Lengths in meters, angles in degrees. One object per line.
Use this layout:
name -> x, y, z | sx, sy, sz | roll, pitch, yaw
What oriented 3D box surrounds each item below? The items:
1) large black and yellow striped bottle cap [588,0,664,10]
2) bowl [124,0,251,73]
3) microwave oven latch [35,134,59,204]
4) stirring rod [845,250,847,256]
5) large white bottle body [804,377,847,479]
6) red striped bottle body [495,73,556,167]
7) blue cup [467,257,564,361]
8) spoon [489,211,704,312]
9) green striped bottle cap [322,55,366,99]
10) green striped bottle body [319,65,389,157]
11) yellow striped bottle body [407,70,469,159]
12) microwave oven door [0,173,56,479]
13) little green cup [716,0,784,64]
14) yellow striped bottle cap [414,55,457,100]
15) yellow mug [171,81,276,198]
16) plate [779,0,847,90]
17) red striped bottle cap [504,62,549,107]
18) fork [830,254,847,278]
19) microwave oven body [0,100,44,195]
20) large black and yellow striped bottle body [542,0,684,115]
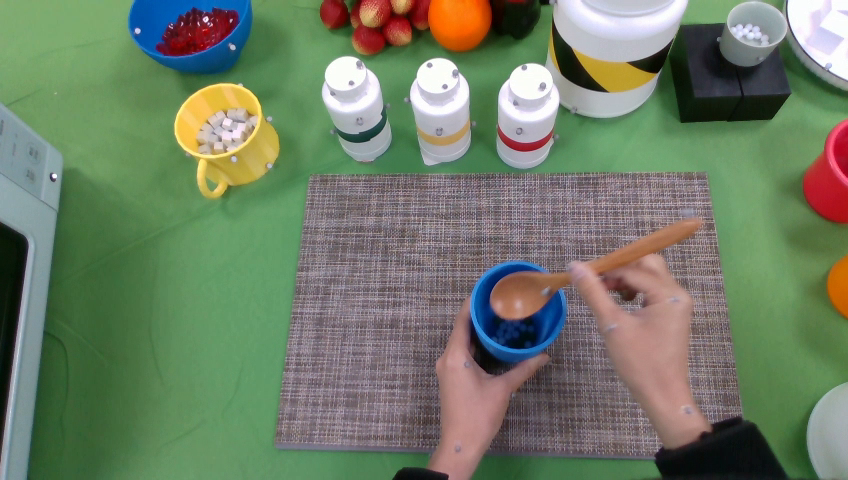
large black and yellow striped bottle cap -> 0.191, -0.267, 0.572 | 0.115, 0.019, 0.114 | -2, 67, 5
bowl -> -0.282, -0.265, 0.761 | 0.151, 0.077, 0.150 | -1, 68, 4
microwave oven latch -> -0.445, -0.081, 0.701 | 0.030, 0.030, 0.078 | -7, 68, 2
stirring rod -> 0.436, 0.047, 0.539 | 0.014, 0.006, 0.175 | -6, 24, 2
large white bottle body -> 0.406, 0.154, 0.472 | 0.130, 0.186, 0.129 | -2, 67, 5
red striped bottle body -> 0.109, -0.134, 0.651 | 0.063, 0.120, 0.062 | -3, 65, 7
blue cup -> 0.083, 0.074, 0.574 | 0.092, 0.101, 0.092 | -1, 67, 3
spoon -> 0.126, 0.019, 0.476 | 0.021, 0.193, 0.041 | -33, 94, -45
green striped bottle cap -> -0.083, -0.169, 0.625 | 0.044, 0.020, 0.044 | -1, 67, 3
green striped bottle body -> -0.078, -0.149, 0.673 | 0.063, 0.120, 0.062 | -2, 67, 4
yellow striped bottle body -> 0.016, -0.145, 0.663 | 0.063, 0.121, 0.062 | -2, 67, 5
microwave oven door -> -0.428, 0.081, 0.524 | 0.039, 0.245, 0.353 | -9, 67, 2
little green cup -> 0.350, -0.223, 0.656 | 0.061, 0.039, 0.061 | -1, 66, 3
yellow striped bottle cap -> 0.012, -0.165, 0.616 | 0.044, 0.019, 0.044 | -1, 69, 4
yellow mug -> -0.234, -0.110, 0.700 | 0.100, 0.064, 0.130 | 10, 69, 8
plate -> 0.520, -0.252, 0.708 | 0.209, 0.038, 0.207 | -2, 68, 4
red striped bottle cap -> 0.103, -0.156, 0.603 | 0.044, 0.018, 0.044 | 0, 66, 1
fork -> 0.464, 0.048, 0.530 | 0.028, 0.019, 0.205 | -34, 25, -14
microwave oven body -> -0.577, 0.066, 0.548 | 0.326, 0.262, 0.438 | -9, 68, 1
large black and yellow striped bottle body -> 0.199, -0.236, 0.650 | 0.131, 0.185, 0.130 | -2, 67, 5
